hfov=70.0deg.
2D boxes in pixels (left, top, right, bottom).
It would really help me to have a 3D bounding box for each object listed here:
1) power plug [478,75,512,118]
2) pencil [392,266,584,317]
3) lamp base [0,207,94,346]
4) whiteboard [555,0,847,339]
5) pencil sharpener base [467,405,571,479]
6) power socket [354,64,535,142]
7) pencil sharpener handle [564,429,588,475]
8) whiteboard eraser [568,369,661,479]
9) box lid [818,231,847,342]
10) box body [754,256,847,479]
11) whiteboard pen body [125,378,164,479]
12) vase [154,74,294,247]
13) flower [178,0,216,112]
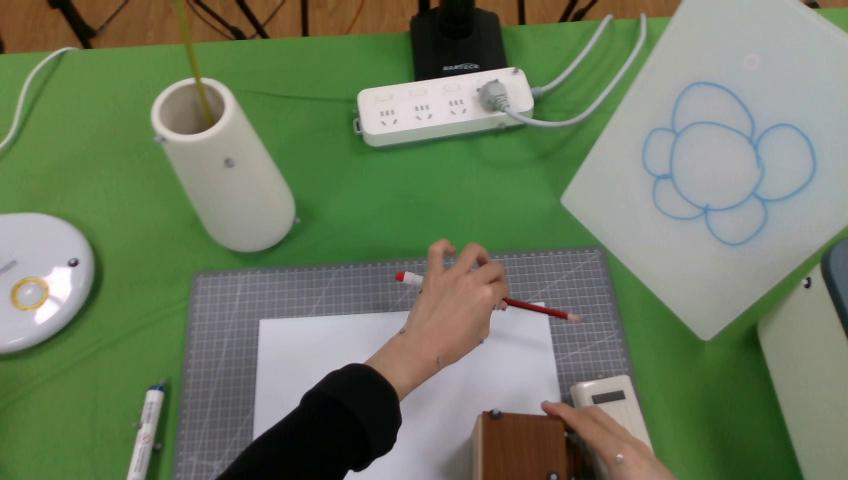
[{"bbox_3d":[0.082,-0.160,0.710,0.035,0.053,0.072,0,65,1],"label":"power plug"},{"bbox_3d":[0.062,0.052,0.600,0.194,0.012,0.012,13,64,6],"label":"pencil"},{"bbox_3d":[-0.445,-0.004,0.576,0.178,0.182,0.160,26,66,16],"label":"lamp base"},{"bbox_3d":[0.308,-0.088,0.584,0.144,0.307,0.215,-26,64,-33],"label":"whiteboard"},{"bbox_3d":[0.078,0.185,0.522,0.077,0.108,0.061,3,63,1],"label":"pencil sharpener base"},{"bbox_3d":[0.026,-0.167,0.739,0.227,0.033,0.071,-9,65,-5],"label":"power socket"},{"bbox_3d":[0.129,0.179,0.512,0.030,0.068,0.036,3,73,1],"label":"pencil sharpener handle"},{"bbox_3d":[0.175,0.180,0.562,0.056,0.042,0.111,-9,64,-6],"label":"whiteboard eraser"},{"bbox_3d":[0.465,0.147,0.430,0.263,0.015,0.368,-4,64,-2],"label":"box lid"},{"bbox_3d":[0.465,0.183,0.496,0.254,0.161,0.361,-4,64,-2],"label":"box body"},{"bbox_3d":[-0.265,0.198,0.564,0.017,0.017,0.139,0,60,1],"label":"whiteboard pen body"},{"bbox_3d":[-0.194,-0.071,0.599,0.098,0.201,0.097,-1,63,1],"label":"vase"},{"bbox_3d":[-0.189,-0.125,0.534,0.038,0.365,0.043,-15,46,-15],"label":"flower"}]
